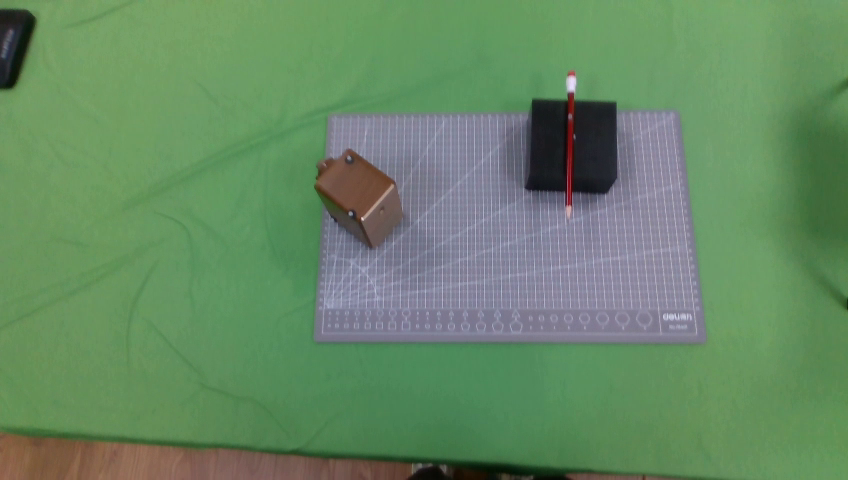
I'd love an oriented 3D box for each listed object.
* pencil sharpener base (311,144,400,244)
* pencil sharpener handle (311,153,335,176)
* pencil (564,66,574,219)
[{"bbox_3d":[-0.077,-0.051,0.696,0.076,0.107,0.061,38,78,13],"label":"pencil sharpener base"},{"bbox_3d":[-0.119,-0.084,0.694,0.030,0.068,0.036,38,71,13],"label":"pencil sharpener handle"},{"bbox_3d":[0.168,-0.116,0.707,0.012,0.012,0.193,4,74,3],"label":"pencil"}]
